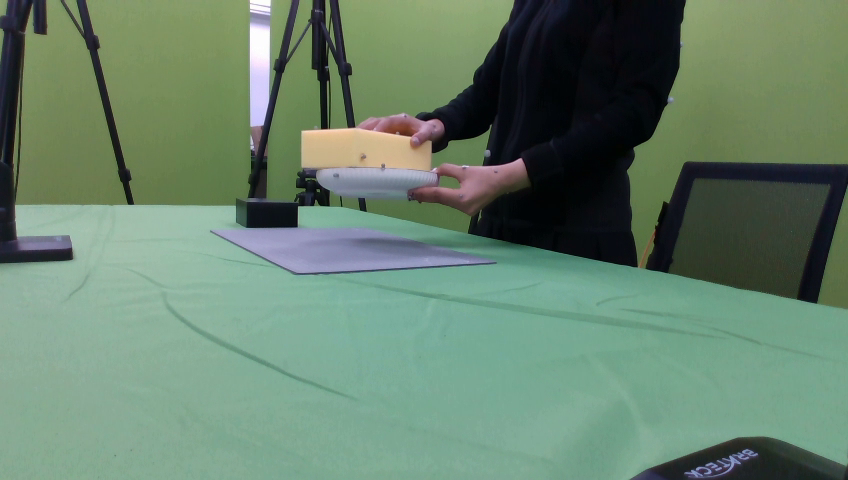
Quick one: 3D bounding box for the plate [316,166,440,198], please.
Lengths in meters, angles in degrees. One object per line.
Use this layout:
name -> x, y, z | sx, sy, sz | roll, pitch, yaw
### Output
plate -> -0.076, -0.094, 1.013 | 0.209, 0.038, 0.209 | 1, 0, 0

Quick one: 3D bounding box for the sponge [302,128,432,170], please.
sponge -> -0.091, -0.148, 1.024 | 0.117, 0.061, 0.208 | 4, 6, 34
